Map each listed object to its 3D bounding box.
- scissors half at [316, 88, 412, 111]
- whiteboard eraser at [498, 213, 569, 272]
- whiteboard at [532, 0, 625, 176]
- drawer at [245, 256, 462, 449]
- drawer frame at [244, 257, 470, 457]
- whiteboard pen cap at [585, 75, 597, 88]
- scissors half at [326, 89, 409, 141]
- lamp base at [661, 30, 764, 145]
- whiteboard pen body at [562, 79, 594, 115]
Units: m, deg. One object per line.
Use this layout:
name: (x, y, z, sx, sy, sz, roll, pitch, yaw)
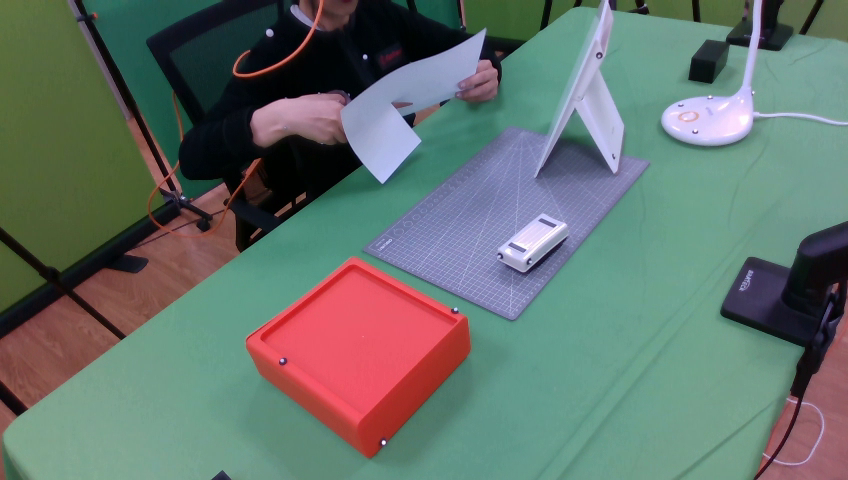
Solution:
scissors half: (-0.105, -0.250, 1.088, 0.176, 0.040, 0.012, -1, 1, -17)
whiteboard eraser: (0.168, 0.006, 0.923, 0.113, 0.042, 0.055, -36, 48, -28)
whiteboard: (0.320, -0.259, 1.050, 0.144, 0.306, 0.217, 21, 45, 5)
drawer: (-0.089, 0.136, 0.792, 0.210, 0.073, 0.195, 26, 51, 34)
drawer frame: (-0.084, 0.138, 0.788, 0.212, 0.083, 0.202, 25, 50, 33)
whiteboard pen cap: (0.362, -0.343, 1.310, 0.018, 0.018, 0.033, 20, 54, 30)
scissors half: (-0.099, -0.228, 1.091, 0.175, 0.040, 0.013, -35, 15, -13)
lamp base: (0.535, -0.287, 1.096, 0.179, 0.181, 0.159, -10, 40, -4)
whiteboard pen body: (0.328, -0.306, 1.277, 0.017, 0.017, 0.141, 20, 52, 30)
